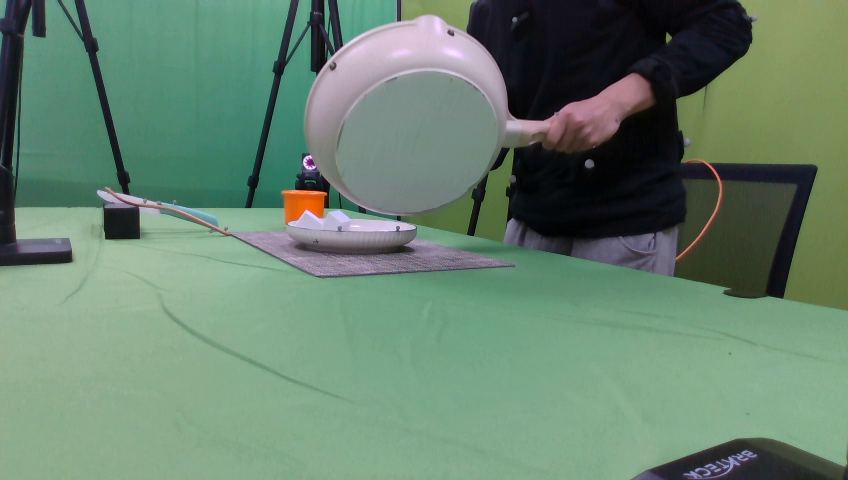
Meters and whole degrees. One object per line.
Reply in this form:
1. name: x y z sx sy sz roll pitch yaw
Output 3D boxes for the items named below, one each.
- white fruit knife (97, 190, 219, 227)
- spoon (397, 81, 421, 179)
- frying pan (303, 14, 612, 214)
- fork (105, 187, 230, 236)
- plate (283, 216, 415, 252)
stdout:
1. white fruit knife: -0.468 -0.057 1.079 0.208 0.027 0.016 15 -2 -29
2. spoon: -0.022 -0.168 0.894 0.042 0.193 0.021 25 -44 -31
3. frying pan: 0.078 -0.159 0.878 0.490 0.306 0.102 -7 44 -24
4. fork: -0.428 -0.047 1.020 0.208 0.018 0.028 19 -8 -26
5. plate: -0.119 -0.009 0.968 0.208 0.039 0.207 3 7 0
